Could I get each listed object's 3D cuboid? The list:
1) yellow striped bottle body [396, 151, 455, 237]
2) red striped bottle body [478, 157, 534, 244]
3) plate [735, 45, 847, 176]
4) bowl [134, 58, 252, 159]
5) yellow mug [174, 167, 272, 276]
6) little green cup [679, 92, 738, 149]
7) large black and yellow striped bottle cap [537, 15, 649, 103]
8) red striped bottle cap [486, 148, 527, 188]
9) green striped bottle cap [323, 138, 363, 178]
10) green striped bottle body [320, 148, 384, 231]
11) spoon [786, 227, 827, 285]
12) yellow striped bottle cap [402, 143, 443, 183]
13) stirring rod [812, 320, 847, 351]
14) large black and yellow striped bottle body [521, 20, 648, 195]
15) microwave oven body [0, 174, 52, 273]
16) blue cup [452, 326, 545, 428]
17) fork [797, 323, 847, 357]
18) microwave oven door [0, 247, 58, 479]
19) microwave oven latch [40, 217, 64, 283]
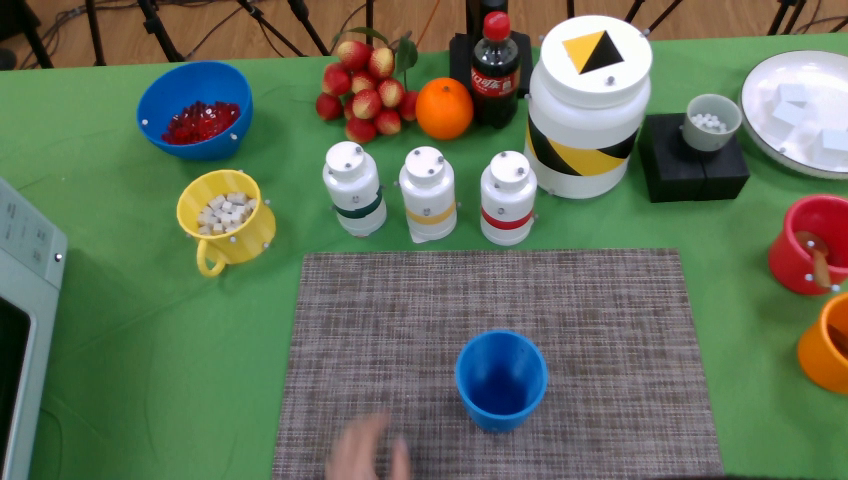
[{"bbox_3d":[0.003,-0.059,0.711,0.063,0.121,0.062,-3,60,5],"label":"yellow striped bottle body"},{"bbox_3d":[0.095,-0.051,0.700,0.063,0.121,0.062,-4,58,7],"label":"red striped bottle body"},{"bbox_3d":[0.505,-0.163,0.778,0.209,0.038,0.207,-2,61,4],"label":"plate"},{"bbox_3d":[-0.299,-0.163,0.819,0.151,0.077,0.150,-2,61,3],"label":"bowl"},{"bbox_3d":[-0.248,-0.018,0.739,0.100,0.064,0.130,8,62,8],"label":"yellow mug"},{"bbox_3d":[0.335,-0.141,0.720,0.061,0.039,0.061,-1,59,2],"label":"little green cup"},{"bbox_3d":[0.178,-0.194,0.640,0.115,0.019,0.114,-2,59,4],"label":"large black and yellow striped bottle cap"},{"bbox_3d":[0.090,-0.078,0.655,0.044,0.018,0.044,0,59,0],"label":"red striped bottle cap"},{"bbox_3d":[-0.091,-0.092,0.678,0.044,0.020,0.044,-1,60,2],"label":"green striped bottle cap"},{"bbox_3d":[-0.086,-0.066,0.723,0.063,0.120,0.062,-2,60,4],"label":"green striped bottle body"},{"bbox_3d":[0.399,0.014,0.625,0.041,0.194,0.022,29,112,20],"label":"spoon"},{"bbox_3d":[-0.002,-0.085,0.667,0.044,0.019,0.044,-2,61,3],"label":"yellow striped bottle cap"},{"bbox_3d":[0.420,0.114,0.571,0.014,0.006,0.175,1,17,3],"label":"stirring rod"},{"bbox_3d":[0.185,-0.153,0.714,0.131,0.185,0.129,-2,60,4],"label":"large black and yellow striped bottle body"},{"bbox_3d":[-0.587,0.141,0.560,0.326,0.262,0.437,-9,61,-1],"label":"microwave oven body"},{"bbox_3d":[0.070,0.144,0.598,0.092,0.101,0.092,-1,59,2],"label":"blue cup"},{"bbox_3d":[0.449,0.114,0.560,0.028,0.019,0.206,-36,20,-15],"label":"fork"},{"bbox_3d":[-0.437,0.151,0.537,0.039,0.246,0.352,-10,60,0],"label":"microwave oven door"},{"bbox_3d":[-0.459,0.014,0.733,0.030,0.030,0.078,-8,61,0],"label":"microwave oven latch"}]
